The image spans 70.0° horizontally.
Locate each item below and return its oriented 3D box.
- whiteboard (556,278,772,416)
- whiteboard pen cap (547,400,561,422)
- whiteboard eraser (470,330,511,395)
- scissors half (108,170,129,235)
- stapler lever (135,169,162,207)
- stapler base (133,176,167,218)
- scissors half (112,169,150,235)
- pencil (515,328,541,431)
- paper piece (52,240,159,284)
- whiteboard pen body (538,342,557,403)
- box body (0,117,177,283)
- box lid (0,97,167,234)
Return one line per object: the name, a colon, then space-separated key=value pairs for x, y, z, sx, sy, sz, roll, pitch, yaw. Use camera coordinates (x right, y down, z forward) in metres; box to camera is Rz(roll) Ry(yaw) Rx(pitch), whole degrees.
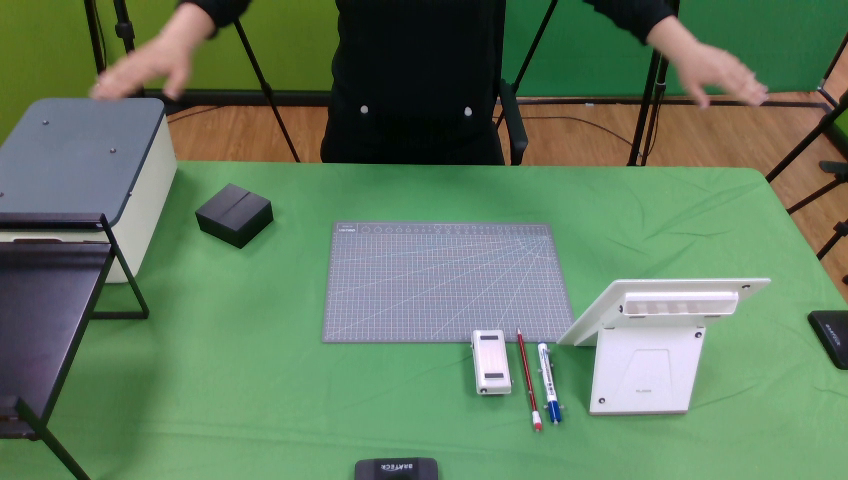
whiteboard: x=0.347 y=0.174 z=0.903 sx=0.217 sy=0.306 sz=0.143 roll=1 pitch=65 yaw=-4
whiteboard pen cap: x=0.205 y=0.269 z=0.956 sx=0.018 sy=0.018 sz=0.033 roll=0 pitch=48 yaw=-5
whiteboard eraser: x=0.109 y=0.202 z=0.998 sx=0.055 sy=0.042 sz=0.112 roll=1 pitch=46 yaw=-5
scissors half: x=-0.617 y=-0.077 z=1.223 sx=0.040 sy=0.013 sz=0.174 roll=-14 pitch=54 yaw=-8
stapler lever: x=-0.555 y=-0.112 z=1.221 sx=0.027 sy=0.040 sz=0.117 roll=6 pitch=41 yaw=-13
stapler base: x=-0.559 y=-0.094 z=1.235 sx=0.041 sy=0.024 sz=0.129 roll=7 pitch=39 yaw=-13
scissors half: x=-0.596 y=-0.078 z=1.225 sx=0.040 sy=0.013 sz=0.174 roll=7 pitch=53 yaw=1
pencil: x=0.169 y=0.224 z=1.002 sx=0.012 sy=0.012 sz=0.192 roll=-1 pitch=46 yaw=-6
paper piece: x=-0.593 y=0.037 z=1.134 sx=0.136 sy=0.009 sz=0.137 roll=3 pitch=32 yaw=8
whiteboard pen body: x=0.205 y=0.228 z=0.997 sx=0.017 sy=0.017 sz=0.140 roll=1 pitch=46 yaw=-3
box body: x=-0.640 y=-0.095 z=1.140 sx=0.254 sy=0.161 sz=0.361 roll=0 pitch=46 yaw=-4
box lid: x=-0.636 y=-0.145 z=1.086 sx=0.263 sy=0.015 sz=0.369 roll=0 pitch=46 yaw=-4
